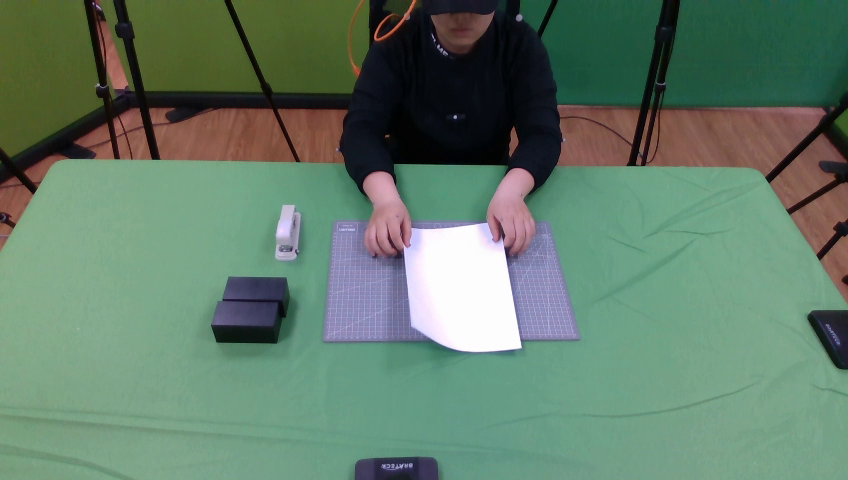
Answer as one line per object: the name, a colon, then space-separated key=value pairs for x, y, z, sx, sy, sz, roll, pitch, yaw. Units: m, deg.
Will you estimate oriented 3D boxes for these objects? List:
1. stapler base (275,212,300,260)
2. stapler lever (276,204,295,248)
stapler base: x=-0.268 y=-0.016 z=1.191 sx=0.041 sy=0.024 sz=0.129 roll=0 pitch=44 yaw=-7
stapler lever: x=-0.268 y=-0.034 z=1.175 sx=0.027 sy=0.040 sz=0.117 roll=0 pitch=45 yaw=-7
